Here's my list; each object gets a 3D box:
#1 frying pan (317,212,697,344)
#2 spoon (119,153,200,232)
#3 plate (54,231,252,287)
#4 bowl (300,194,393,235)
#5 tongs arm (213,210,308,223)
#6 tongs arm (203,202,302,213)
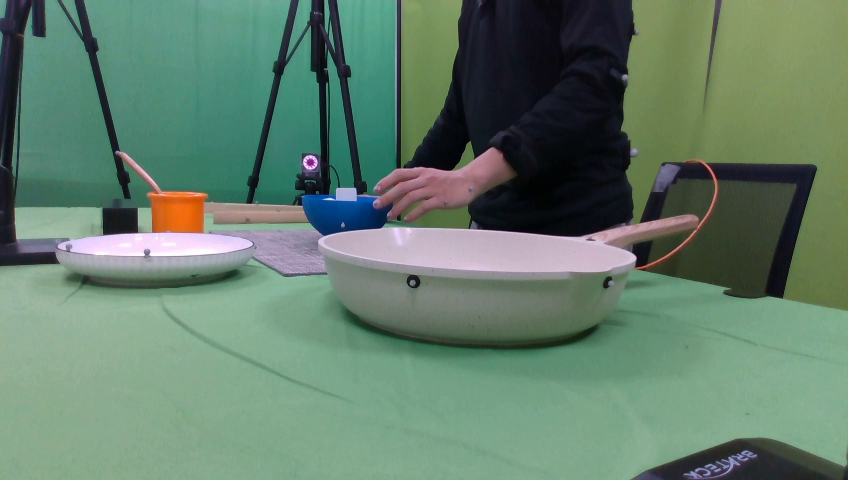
[{"bbox_3d":[0.133,0.013,0.629,0.490,0.102,0.305,-12,14,-31],"label":"frying pan"},{"bbox_3d":[-0.439,-0.077,1.000,0.021,0.193,0.042,-43,-7,22],"label":"spoon"},{"bbox_3d":[-0.309,0.020,0.705,0.208,0.039,0.207,3,7,0],"label":"plate"},{"bbox_3d":[-0.128,-0.034,0.996,0.151,0.077,0.151,2,7,0],"label":"bowl"},{"bbox_3d":[-0.274,-0.055,1.347,0.390,0.028,0.028,-2,6,-36],"label":"tongs arm"},{"bbox_3d":[-0.311,-0.069,1.417,0.387,0.026,0.050,1,8,-24],"label":"tongs arm"}]
